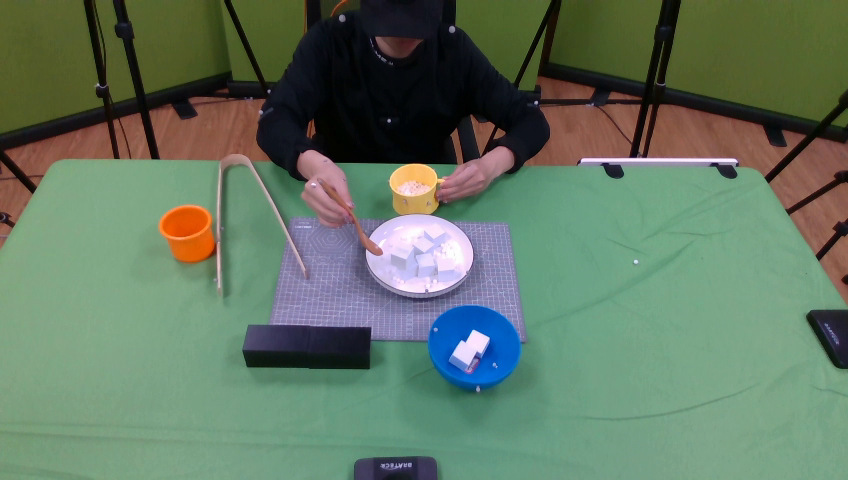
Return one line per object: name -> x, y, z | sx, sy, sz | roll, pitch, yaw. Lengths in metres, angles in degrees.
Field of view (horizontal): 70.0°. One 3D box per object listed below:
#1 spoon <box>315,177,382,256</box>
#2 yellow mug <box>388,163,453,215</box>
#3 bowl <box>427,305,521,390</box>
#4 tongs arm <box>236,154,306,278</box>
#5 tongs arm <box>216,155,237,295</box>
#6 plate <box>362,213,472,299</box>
spoon -> -0.128, -0.039, 1.046 | 0.021, 0.195, 0.041 | -28, 35, 7
yellow mug -> -0.006, -0.105, 1.257 | 0.131, 0.064, 0.099 | -3, 49, 2
bowl -> 0.076, 0.188, 0.985 | 0.151, 0.077, 0.150 | 3, 46, -3
tongs arm -> -0.311, -0.060, 1.223 | 0.028, 0.028, 0.385 | -22, 50, -18
tongs arm -> -0.388, -0.044, 1.201 | 0.051, 0.026, 0.382 | -10, 46, -11
plate -> -0.013, 0.034, 1.150 | 0.208, 0.039, 0.206 | 2, 46, -2
